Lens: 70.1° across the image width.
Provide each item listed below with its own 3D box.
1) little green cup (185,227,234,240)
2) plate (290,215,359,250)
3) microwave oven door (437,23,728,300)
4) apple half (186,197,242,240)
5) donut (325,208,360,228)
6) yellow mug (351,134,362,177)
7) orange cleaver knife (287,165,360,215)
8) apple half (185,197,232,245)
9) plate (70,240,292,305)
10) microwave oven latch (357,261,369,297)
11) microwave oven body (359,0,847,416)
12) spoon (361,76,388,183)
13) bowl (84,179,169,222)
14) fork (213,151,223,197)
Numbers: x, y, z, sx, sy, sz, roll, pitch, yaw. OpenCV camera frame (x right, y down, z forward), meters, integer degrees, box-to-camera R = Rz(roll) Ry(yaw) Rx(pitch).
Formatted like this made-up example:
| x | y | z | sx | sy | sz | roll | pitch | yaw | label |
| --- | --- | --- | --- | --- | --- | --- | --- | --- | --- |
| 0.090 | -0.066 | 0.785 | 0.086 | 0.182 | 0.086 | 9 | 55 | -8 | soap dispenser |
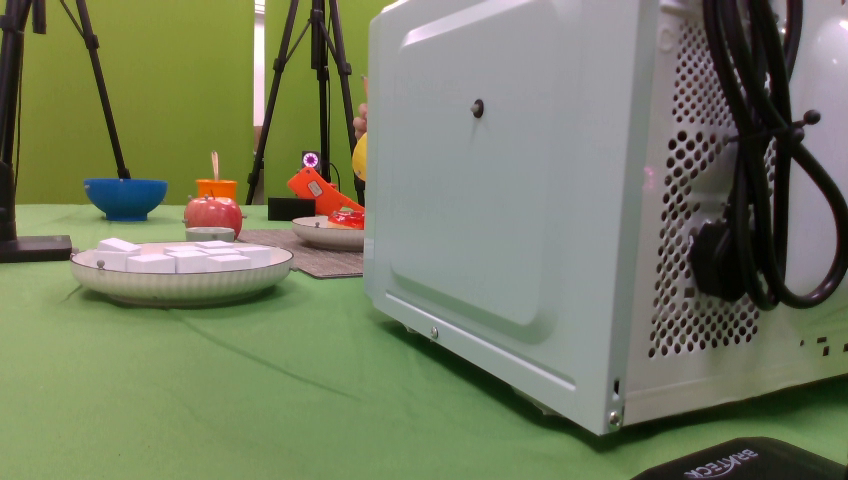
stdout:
| x | y | z | sx | sy | sz | roll | pitch | yaw | label |
| --- | --- | --- | --- | --- | --- | --- | --- | --- | --- |
| -0.285 | 0.005 | 0.805 | 0.061 | 0.038 | 0.061 | 2 | 8 | 0 | little green cup |
| -0.110 | -0.014 | 0.973 | 0.209 | 0.038 | 0.209 | 3 | 8 | 0 | plate |
| 0.181 | -0.072 | 0.621 | 0.358 | 0.243 | 0.039 | -2 | 8 | -29 | microwave oven door |
| -0.306 | -0.026 | 0.904 | 0.053 | 0.074 | 0.081 | 14 | 9 | 37 | apple half |
| -0.111 | -0.025 | 0.974 | 0.099 | 0.048 | 0.099 | 4 | 8 | 0 | donut |
| -0.048 | -0.132 | 0.898 | 0.100 | 0.131 | 0.063 | -17 | 43 | -35 | yellow mug |
| -0.211 | -0.092 | 1.382 | 0.212 | 0.077 | 0.012 | 33 | 1 | -15 | orange cleaver knife |
| -0.337 | -0.031 | 0.927 | 0.032 | 0.081 | 0.082 | 13 | 12 | 37 | apple half |
| -0.242 | 0.031 | 0.618 | 0.208 | 0.039 | 0.207 | 2 | 8 | 0 | plate |
| -0.019 | 0.033 | 0.531 | 0.079 | 0.029 | 0.030 | -1 | 7 | -27 | microwave oven latch |
| 0.211 | -0.047 | 0.474 | 0.444 | 0.260 | 0.324 | -1 | 7 | -28 | microwave oven body |
| -0.081 | -0.178 | 0.960 | 0.021 | 0.193 | 0.042 | -19 | -21 | 36 | spoon |
| -0.584 | -0.078 | 1.194 | 0.151 | 0.077 | 0.151 | 3 | 8 | 0 | bowl |
| -0.494 | -0.143 | 1.442 | 0.028 | 0.018 | 0.206 | -2 | 52 | -20 | fork |
